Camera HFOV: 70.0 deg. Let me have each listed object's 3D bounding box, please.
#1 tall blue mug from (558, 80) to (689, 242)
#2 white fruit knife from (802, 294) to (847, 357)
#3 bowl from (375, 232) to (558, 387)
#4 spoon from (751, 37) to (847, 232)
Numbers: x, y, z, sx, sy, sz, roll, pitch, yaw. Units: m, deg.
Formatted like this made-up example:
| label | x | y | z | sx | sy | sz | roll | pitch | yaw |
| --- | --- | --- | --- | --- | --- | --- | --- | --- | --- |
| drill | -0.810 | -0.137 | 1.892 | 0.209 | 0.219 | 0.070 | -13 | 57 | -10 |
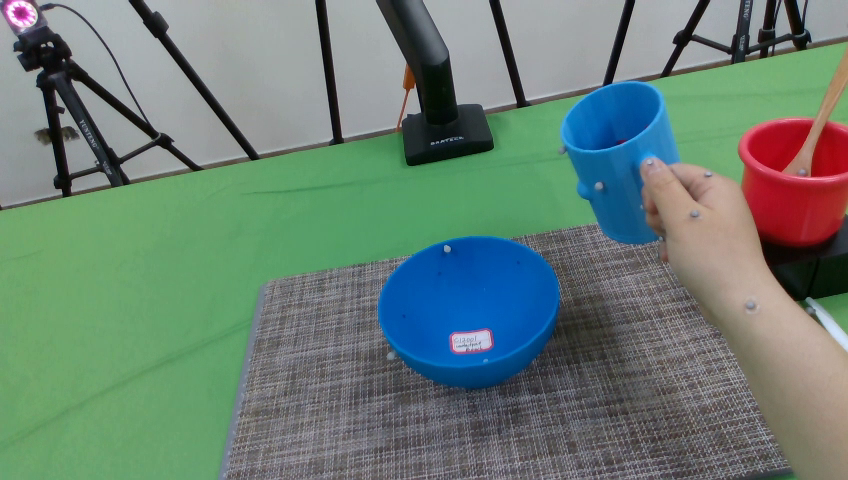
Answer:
| label | x | y | z | sx | sy | sz | roll | pitch | yaw |
| --- | --- | --- | --- | --- | --- | --- | --- | --- | --- |
| tall blue mug | 0.170 | -0.055 | 0.473 | 0.106 | 0.109 | 0.077 | 24 | 68 | 47 |
| white fruit knife | 0.338 | 0.110 | 0.446 | 0.027 | 0.016 | 0.205 | 11 | 35 | -13 |
| bowl | 0.040 | 0.072 | 0.517 | 0.151 | 0.077 | 0.150 | -8 | 40 | 7 |
| spoon | 0.332 | -0.096 | 0.512 | 0.041 | 0.022 | 0.194 | 27 | 98 | 40 |
